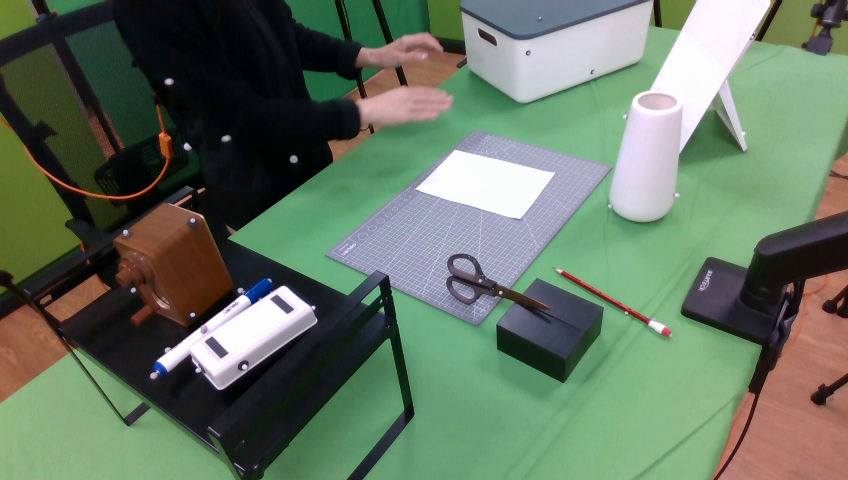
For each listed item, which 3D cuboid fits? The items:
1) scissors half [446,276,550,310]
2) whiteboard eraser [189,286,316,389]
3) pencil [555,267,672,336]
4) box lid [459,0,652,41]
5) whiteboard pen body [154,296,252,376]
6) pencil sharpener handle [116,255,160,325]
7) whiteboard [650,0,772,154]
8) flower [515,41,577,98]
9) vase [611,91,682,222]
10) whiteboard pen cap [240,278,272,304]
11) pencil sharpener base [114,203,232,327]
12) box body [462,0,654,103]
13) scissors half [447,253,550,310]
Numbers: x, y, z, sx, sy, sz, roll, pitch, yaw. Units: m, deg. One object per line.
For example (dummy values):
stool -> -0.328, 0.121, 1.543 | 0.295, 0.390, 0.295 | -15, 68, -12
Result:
scissors half -> 0.098, 0.077, 0.827 | 0.174, 0.040, 0.013 | 6, 14, 44
whiteboard eraser -> -0.166, 0.096, 0.593 | 0.113, 0.042, 0.055 | -36, 46, -29
pencil -> 0.260, 0.082, 0.851 | 0.012, 0.012, 0.192 | -33, 45, -27
box lid -> 0.291, -0.524, 1.327 | 0.373, 0.015, 0.261 | -23, 43, -18
whiteboard pen body -> -0.214, 0.088, 0.619 | 0.017, 0.017, 0.141 | 19, 42, 28
pencil sharpener handle -> -0.286, 0.050, 0.594 | 0.035, 0.068, 0.031 | 7, 41, 35
whiteboard -> 0.543, -0.298, 1.076 | 0.144, 0.305, 0.216 | 12, 40, -7
flower -> 0.298, -0.410, 1.413 | 0.044, 0.038, 0.362 | -16, 22, 41
vase -> 0.348, -0.125, 0.935 | 0.098, 0.201, 0.097 | -3, 40, 3
whiteboard pen cap -> -0.183, 0.057, 0.658 | 0.018, 0.018, 0.033 | 19, 44, 28
pencil sharpener base -> -0.262, 0.029, 0.635 | 0.061, 0.107, 0.077 | 18, 47, 26
box body -> 0.298, -0.468, 1.374 | 0.365, 0.161, 0.252 | -23, 43, -18
scissors half -> 0.098, 0.058, 0.821 | 0.173, 0.040, 0.013 | 27, 33, 37
